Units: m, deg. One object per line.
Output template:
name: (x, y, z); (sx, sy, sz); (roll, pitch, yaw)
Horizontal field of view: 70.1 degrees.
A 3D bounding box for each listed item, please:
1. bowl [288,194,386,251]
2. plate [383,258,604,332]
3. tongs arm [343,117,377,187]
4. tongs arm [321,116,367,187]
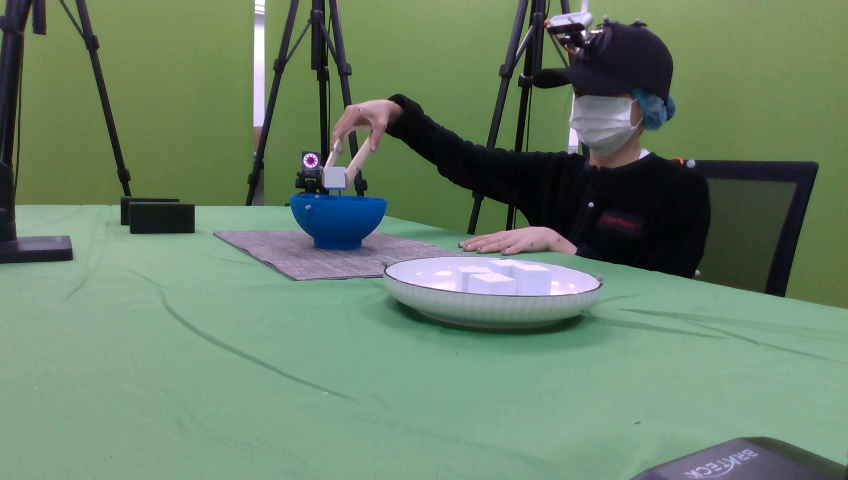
bowl: (-0.135, -0.027, 0.936); (0.151, 0.077, 0.151); (3, 7, 0)
plate: (0.064, 0.051, 0.582); (0.209, 0.038, 0.209); (3, 7, 0)
tongs arm: (-0.112, -0.167, 1.077); (0.028, 0.028, 0.387); (-4, 23, 4)
tongs arm: (-0.136, -0.167, 1.078); (0.051, 0.026, 0.384); (-2, 23, -1)
